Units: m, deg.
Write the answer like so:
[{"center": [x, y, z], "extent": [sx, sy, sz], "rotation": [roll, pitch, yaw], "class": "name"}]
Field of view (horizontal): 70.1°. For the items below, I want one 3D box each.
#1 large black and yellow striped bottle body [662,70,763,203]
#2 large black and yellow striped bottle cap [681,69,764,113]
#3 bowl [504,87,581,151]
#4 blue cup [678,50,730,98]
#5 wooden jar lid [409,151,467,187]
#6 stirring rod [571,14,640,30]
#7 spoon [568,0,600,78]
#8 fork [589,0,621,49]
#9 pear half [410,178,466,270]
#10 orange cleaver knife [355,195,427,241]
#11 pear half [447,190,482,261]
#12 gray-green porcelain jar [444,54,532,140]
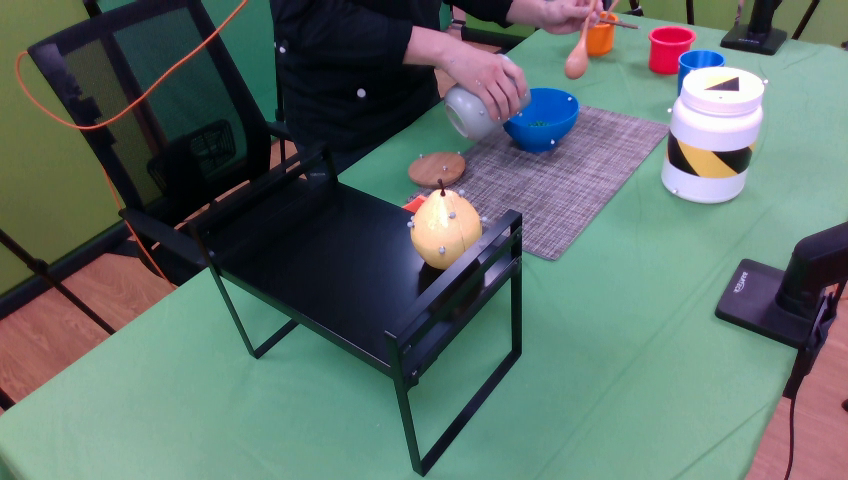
[{"center": [0.464, -0.166, 0.976], "extent": [0.131, 0.185, 0.130], "rotation": [-5, 41, 5], "class": "large black and yellow striped bottle body"}, {"center": [0.453, -0.229, 0.921], "extent": [0.115, 0.019, 0.114], "rotation": [-4, 39, 4], "class": "large black and yellow striped bottle cap"}, {"center": [0.221, -0.223, 1.156], "extent": [0.151, 0.077, 0.150], "rotation": [-4, 41, 4], "class": "bowl"}, {"center": [0.542, -0.310, 1.194], "extent": [0.092, 0.101, 0.092], "rotation": [-6, 41, 6], "class": "blue cup"}, {"center": [0.026, -0.131, 1.124], "extent": [0.108, 0.021, 0.108], "rotation": [-7, 36, 6], "class": "wooden jar lid"}, {"center": [0.419, -0.508, 1.405], "extent": [0.174, 0.006, 0.014], "rotation": [28, 57, 36], "class": "stirring rod"}, {"center": [0.311, -0.401, 1.137], "extent": [0.042, 0.193, 0.021], "rotation": [14, 1, -3], "class": "spoon"}, {"center": [0.445, -0.539, 1.438], "extent": [0.207, 0.019, 0.028], "rotation": [-57, 36, 12], "class": "fork"}, {"center": [0.011, -0.019, 0.654], "extent": [0.056, 0.110, 0.076], "rotation": [-16, 37, -9], "class": "pear half"}, {"center": [-0.037, -0.029, 0.973], "extent": [0.210, 0.077, 0.012], "rotation": [-8, 33, 50], "class": "orange cleaver knife"}, {"center": [0.046, -0.020, 0.665], "extent": [0.031, 0.088, 0.070], "rotation": [-17, 38, -9], "class": "pear half"}, {"center": [0.108, -0.246, 1.064], "extent": [0.126, 0.106, 0.105], "rotation": [-36, 45, -5], "class": "gray-green porcelain jar"}]
